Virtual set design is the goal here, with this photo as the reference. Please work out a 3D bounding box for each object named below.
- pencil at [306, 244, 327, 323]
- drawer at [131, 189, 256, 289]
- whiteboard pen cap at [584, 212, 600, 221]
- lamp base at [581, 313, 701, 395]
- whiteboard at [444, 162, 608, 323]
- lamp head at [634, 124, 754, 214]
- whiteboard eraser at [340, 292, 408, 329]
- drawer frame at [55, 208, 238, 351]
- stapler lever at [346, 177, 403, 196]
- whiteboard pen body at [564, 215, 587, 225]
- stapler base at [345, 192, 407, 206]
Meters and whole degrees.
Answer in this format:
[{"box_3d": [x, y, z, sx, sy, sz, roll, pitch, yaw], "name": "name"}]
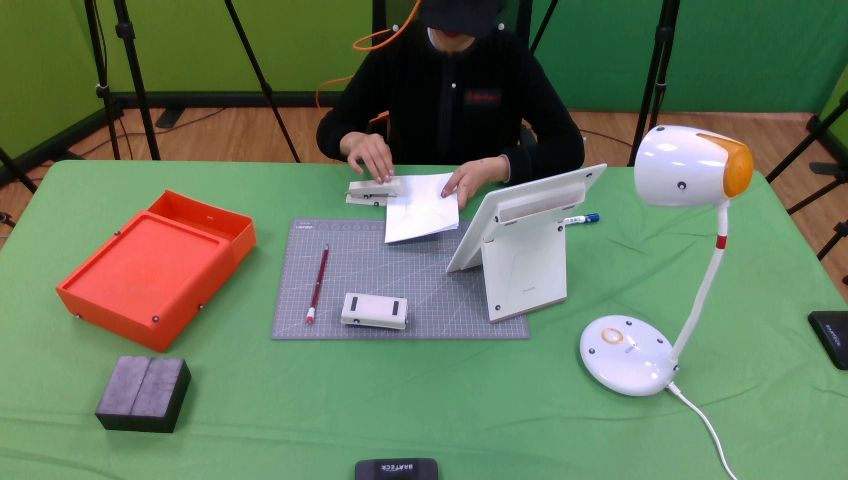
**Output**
[{"box_3d": [-0.196, 0.076, 1.115, 0.012, 0.012, 0.193, 4, 44, 0], "name": "pencil"}, {"box_3d": [-0.449, 0.019, 1.106, 0.194, 0.073, 0.211, 19, 48, 12], "name": "drawer"}, {"box_3d": [0.351, -0.048, 1.271, 0.033, 0.018, 0.018, -6, 47, -11], "name": "whiteboard pen cap"}, {"box_3d": [0.361, 0.144, 0.973, 0.178, 0.181, 0.160, 34, 53, 23], "name": "lamp base"}, {"box_3d": [0.186, 0.026, 1.028, 0.217, 0.306, 0.143, -14, 68, -17], "name": "whiteboard"}, {"box_3d": [0.351, -0.089, 0.776, 0.112, 0.113, 0.122, -30, 30, -28], "name": "lamp head"}, {"box_3d": [-0.087, 0.125, 1.052, 0.113, 0.042, 0.055, 5, 45, 1], "name": "whiteboard eraser"}, {"box_3d": [-0.474, 0.062, 1.059, 0.201, 0.083, 0.213, 19, 48, 13], "name": "drawer frame"}, {"box_3d": [-0.102, -0.112, 1.264, 0.118, 0.040, 0.026, 3, 43, 1], "name": "stapler lever"}, {"box_3d": [0.291, -0.040, 1.261, 0.141, 0.017, 0.017, -6, 47, -11], "name": "whiteboard pen body"}, {"box_3d": [-0.101, -0.095, 1.282, 0.130, 0.024, 0.041, 3, 43, 1], "name": "stapler base"}]
